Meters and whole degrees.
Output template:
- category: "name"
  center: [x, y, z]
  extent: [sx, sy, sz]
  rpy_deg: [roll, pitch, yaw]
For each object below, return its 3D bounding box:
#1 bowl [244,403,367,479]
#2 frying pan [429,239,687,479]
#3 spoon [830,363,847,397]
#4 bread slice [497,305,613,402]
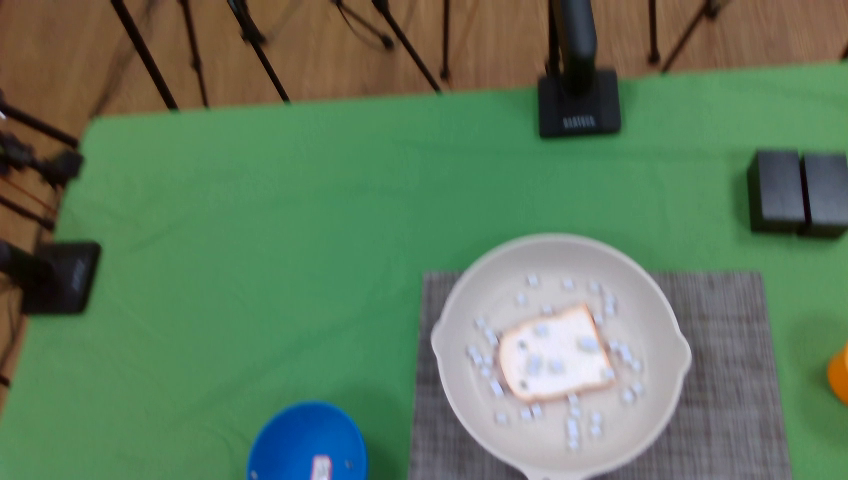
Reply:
- category: "bowl"
  center: [-0.137, 0.286, 0.757]
  extent: [0.151, 0.077, 0.150]
  rpy_deg: [-4, 66, 9]
- category: "frying pan"
  center: [0.147, 0.230, 0.708]
  extent: [0.306, 0.104, 0.484]
  rpy_deg: [2, 58, 13]
- category: "spoon"
  center: [0.544, 0.136, 0.651]
  extent: [0.022, 0.193, 0.041]
  rpy_deg: [9, 63, -33]
- category: "bread slice"
  center: [0.163, 0.154, 0.782]
  extent: [0.134, 0.018, 0.106]
  rpy_deg: [-19, 64, 0]
